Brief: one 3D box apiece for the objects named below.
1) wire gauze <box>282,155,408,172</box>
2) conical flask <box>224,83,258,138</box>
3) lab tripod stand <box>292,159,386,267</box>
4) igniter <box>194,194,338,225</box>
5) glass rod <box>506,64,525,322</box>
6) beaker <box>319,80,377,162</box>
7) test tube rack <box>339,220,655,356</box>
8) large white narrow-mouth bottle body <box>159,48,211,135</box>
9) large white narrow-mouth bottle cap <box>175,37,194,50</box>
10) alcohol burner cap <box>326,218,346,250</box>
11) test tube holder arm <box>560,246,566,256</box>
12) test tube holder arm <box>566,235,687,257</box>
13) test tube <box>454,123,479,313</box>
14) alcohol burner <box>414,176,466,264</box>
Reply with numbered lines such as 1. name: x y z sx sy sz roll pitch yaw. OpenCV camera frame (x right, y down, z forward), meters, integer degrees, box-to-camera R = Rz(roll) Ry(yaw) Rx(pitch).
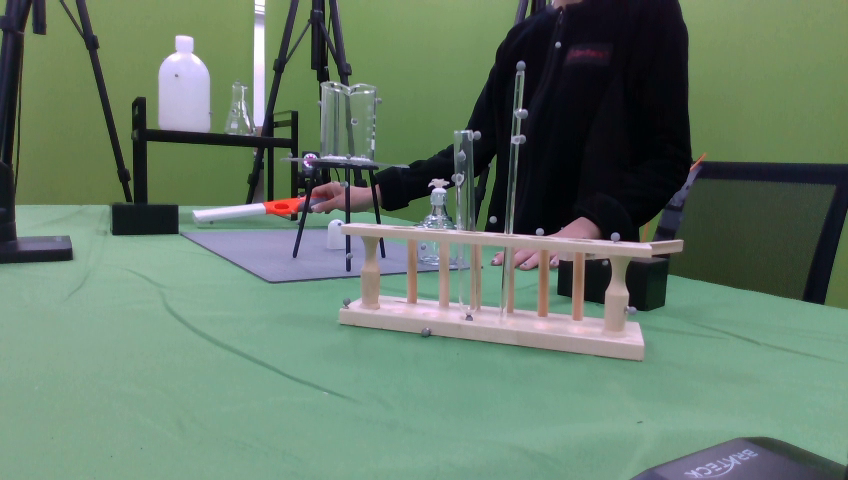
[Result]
1. wire gauze: -0.104 -0.103 0.785 0.126 0.011 0.121 1 8 -39
2. conical flask: -0.422 -0.299 1.395 0.075 0.122 0.075 2 7 0
3. lab tripod stand: -0.104 -0.039 0.798 0.148 0.131 0.148 2 5 0
4. igniter: -0.302 -0.061 1.184 0.278 0.025 0.057 -10 30 -29
5. glass rod: 0.069 -0.030 0.458 0.008 0.199 0.008 0 15 0
6. beaker: -0.098 -0.150 0.777 0.074 0.100 0.084 1 7 -7
7. test tube rack: 0.056 0.032 0.495 0.242 0.085 0.067 4 7 15
8. large white narrow-mouth bottle body: -0.503 -0.323 1.275 0.102 0.194 0.102 2 7 0
9. large white narrow-mouth bottle cap: -0.501 -0.409 1.264 0.038 0.024 0.037 2 7 0
10. alcohol burner cap: -0.133 -0.010 0.927 0.034 0.048 0.034 6 7 0
11. test tube holder arm: 0.173 0.007 0.612 0.088 0.015 0.010 -3 10 -30
12. test tube holder arm: 0.215 0.006 0.630 0.179 0.015 0.013 -3 10 -31
13. test tube: 0.034 -0.016 0.477 0.017 0.150 0.017 -2 9 1
14. alcohol burner: 0.021 -0.028 0.826 0.078 0.119 0.078 0 6 0
